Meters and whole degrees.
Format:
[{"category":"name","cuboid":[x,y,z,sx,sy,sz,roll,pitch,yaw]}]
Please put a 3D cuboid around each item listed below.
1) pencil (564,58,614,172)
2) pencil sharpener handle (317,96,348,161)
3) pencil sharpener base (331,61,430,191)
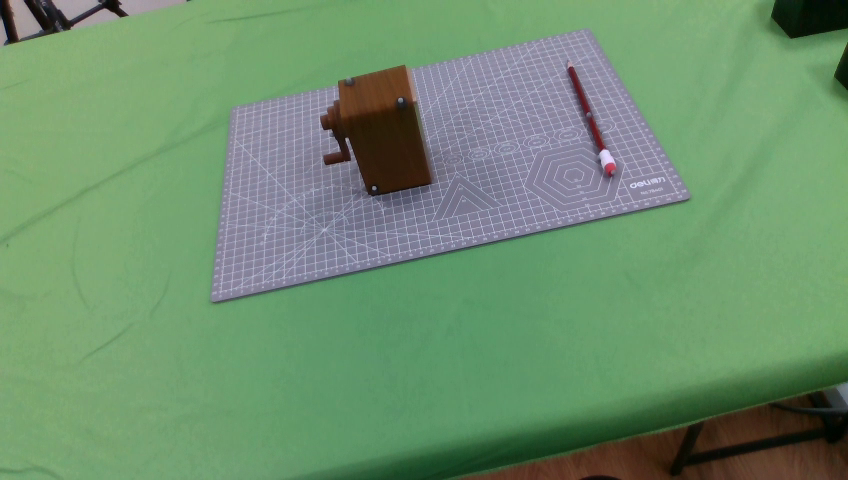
[{"category":"pencil","cuboid":[0.169,-0.138,0.636,0.012,0.012,0.192,-9,49,4]},{"category":"pencil sharpener handle","cuboid":[-0.093,-0.104,0.581,0.030,0.068,0.035,-13,50,2]},{"category":"pencil sharpener base","cuboid":[-0.041,-0.107,0.589,0.077,0.108,0.060,-13,50,2]}]
